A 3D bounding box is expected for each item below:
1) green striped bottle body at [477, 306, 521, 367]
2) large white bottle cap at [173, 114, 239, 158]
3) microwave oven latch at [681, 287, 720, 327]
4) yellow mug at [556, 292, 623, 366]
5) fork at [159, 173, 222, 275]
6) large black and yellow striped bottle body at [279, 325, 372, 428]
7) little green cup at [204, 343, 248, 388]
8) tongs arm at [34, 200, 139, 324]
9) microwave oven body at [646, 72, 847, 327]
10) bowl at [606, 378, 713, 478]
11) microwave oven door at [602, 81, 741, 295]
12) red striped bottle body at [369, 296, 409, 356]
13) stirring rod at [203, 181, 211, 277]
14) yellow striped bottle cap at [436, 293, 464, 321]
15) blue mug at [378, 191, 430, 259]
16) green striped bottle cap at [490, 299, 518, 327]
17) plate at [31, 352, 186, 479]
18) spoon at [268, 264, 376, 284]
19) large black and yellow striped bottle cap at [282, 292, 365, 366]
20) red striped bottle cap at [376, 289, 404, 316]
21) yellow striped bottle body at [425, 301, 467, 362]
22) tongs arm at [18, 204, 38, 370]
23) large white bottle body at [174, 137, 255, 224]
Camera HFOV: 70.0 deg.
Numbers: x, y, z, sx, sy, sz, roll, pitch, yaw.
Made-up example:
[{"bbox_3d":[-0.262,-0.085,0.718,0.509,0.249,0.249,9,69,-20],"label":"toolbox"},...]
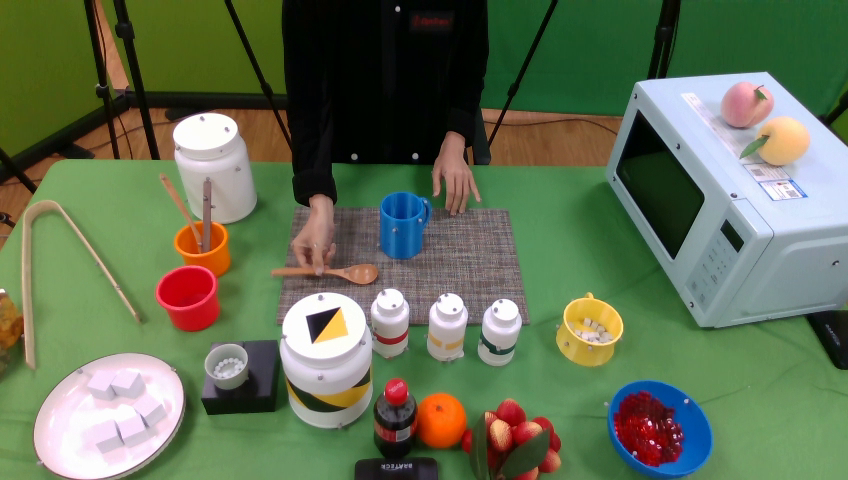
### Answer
[{"bbox_3d":[0.124,0.151,0.995,0.063,0.120,0.063,2,46,-2],"label":"green striped bottle body"},{"bbox_3d":[-0.403,-0.195,1.122,0.115,0.018,0.114,2,47,-2],"label":"large white bottle cap"},{"bbox_3d":[0.494,0.119,1.087,0.030,0.029,0.078,-6,46,-9],"label":"microwave oven latch"},{"bbox_3d":[0.285,0.145,1.051,0.100,0.064,0.130,7,45,3],"label":"yellow mug"},{"bbox_3d":[-0.427,-0.029,1.103,0.028,0.018,0.207,-31,99,-30],"label":"fork"},{"bbox_3d":[-0.143,0.181,0.900,0.131,0.185,0.130,2,46,-2],"label":"large black and yellow striped bottle body"},{"bbox_3d":[-0.294,0.190,0.909,0.061,0.039,0.061,1,48,-1],"label":"little green cup"},{"bbox_3d":[-0.622,0.034,1.105,0.051,0.026,0.382,-32,56,-25],"label":"tongs arm"},{"bbox_3d":[0.607,-0.089,1.164,0.326,0.261,0.438,-7,46,-10],"label":"microwave oven body"},{"bbox_3d":[0.340,0.292,0.906,0.151,0.077,0.150,2,46,-2],"label":"bowl"},{"bbox_3d":[0.456,-0.107,1.162,0.039,0.245,0.353,-6,47,-11],"label":"microwave oven door"},{"bbox_3d":[-0.058,0.134,0.997,0.063,0.120,0.062,4,47,-4],"label":"red striped bottle body"},{"bbox_3d":[-0.396,-0.021,1.108,0.014,0.006,0.176,-1,89,-1],"label":"stirring rod"},{"bbox_3d":[0.041,0.106,0.959,0.044,0.019,0.044,-1,49,1],"label":"yellow striped bottle cap"},{"bbox_3d":[-0.033,-0.035,1.166,0.116,0.106,0.082,-30,55,-29],"label":"blue mug"},{"bbox_3d":[0.127,0.115,0.958,0.044,0.020,0.044,3,48,-3],"label":"green striped bottle cap"},{"bbox_3d":[-0.459,0.262,0.898,0.209,0.038,0.208,2,46,-2],"label":"plate"},{"bbox_3d":[-0.185,0.059,1.107,0.194,0.022,0.041,4,68,-14],"label":"spoon"},{"bbox_3d":[-0.139,0.121,0.841,0.115,0.019,0.114,3,47,-3],"label":"large black and yellow striped bottle cap"},{"bbox_3d":[-0.055,0.098,0.958,0.044,0.018,0.044,0,48,1],"label":"red striped bottle cap"},{"bbox_3d":[0.037,0.142,0.996,0.063,0.121,0.062,3,46,-3],"label":"yellow striped bottle body"},{"bbox_3d":[-0.698,0.070,1.069,0.028,0.028,0.385,-21,51,-13],"label":"tongs arm"},{"bbox_3d":[-0.408,-0.136,1.183,0.131,0.185,0.130,2,46,-2],"label":"large white bottle body"}]
